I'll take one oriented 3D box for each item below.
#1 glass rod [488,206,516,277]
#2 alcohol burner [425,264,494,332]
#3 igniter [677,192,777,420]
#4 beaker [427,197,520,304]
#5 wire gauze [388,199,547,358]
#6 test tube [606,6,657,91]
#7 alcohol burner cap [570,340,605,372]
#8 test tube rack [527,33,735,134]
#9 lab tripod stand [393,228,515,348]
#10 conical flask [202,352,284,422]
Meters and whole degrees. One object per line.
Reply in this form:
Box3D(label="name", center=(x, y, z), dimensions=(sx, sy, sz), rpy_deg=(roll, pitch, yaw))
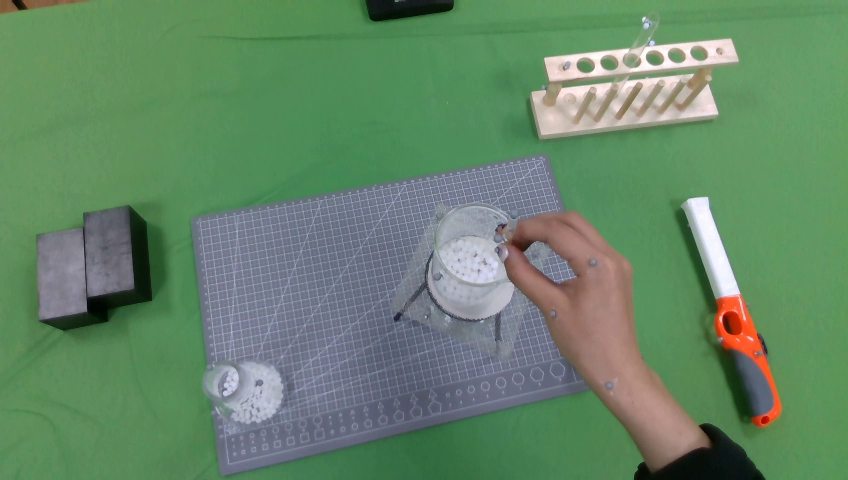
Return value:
Box3D(label="glass rod", center=(0.060, 0.006, 0.484), dimensions=(0.008, 0.200, 0.008), rpy_deg=(0, 75, 2))
Box3D(label="alcohol burner", center=(0.040, 0.059, 0.659), dimensions=(0.078, 0.119, 0.077), rpy_deg=(0, 73, -1))
Box3D(label="igniter", center=(0.360, 0.072, 0.722), dimensions=(0.057, 0.025, 0.274), rpy_deg=(-6, 72, -17))
Box3D(label="beaker", center=(0.042, 0.016, 0.543), dimensions=(0.083, 0.101, 0.074), rpy_deg=(37, 74, 9))
Box3D(label="wire gauze", center=(0.043, 0.034, 0.587), dimensions=(0.125, 0.011, 0.121), rpy_deg=(25, 75, 3))
Box3D(label="test tube", center=(0.247, -0.226, 0.731), dimensions=(0.017, 0.151, 0.017), rpy_deg=(0, 71, 0))
Box3D(label="alcohol burner cap", center=(0.187, 0.128, 0.682), dimensions=(0.034, 0.048, 0.033), rpy_deg=(1, 70, -3))
Box3D(label="test tube rack", center=(0.264, -0.198, 0.775), dimensions=(0.243, 0.085, 0.066), rpy_deg=(-8, 72, -6))
Box3D(label="lab tripod stand", center=(0.038, 0.053, 0.650), dimensions=(0.148, 0.132, 0.147), rpy_deg=(1, 73, -2))
Box3D(label="conical flask", center=(-0.188, 0.143, 0.612), dimensions=(0.075, 0.122, 0.075), rpy_deg=(1, 71, -3))
